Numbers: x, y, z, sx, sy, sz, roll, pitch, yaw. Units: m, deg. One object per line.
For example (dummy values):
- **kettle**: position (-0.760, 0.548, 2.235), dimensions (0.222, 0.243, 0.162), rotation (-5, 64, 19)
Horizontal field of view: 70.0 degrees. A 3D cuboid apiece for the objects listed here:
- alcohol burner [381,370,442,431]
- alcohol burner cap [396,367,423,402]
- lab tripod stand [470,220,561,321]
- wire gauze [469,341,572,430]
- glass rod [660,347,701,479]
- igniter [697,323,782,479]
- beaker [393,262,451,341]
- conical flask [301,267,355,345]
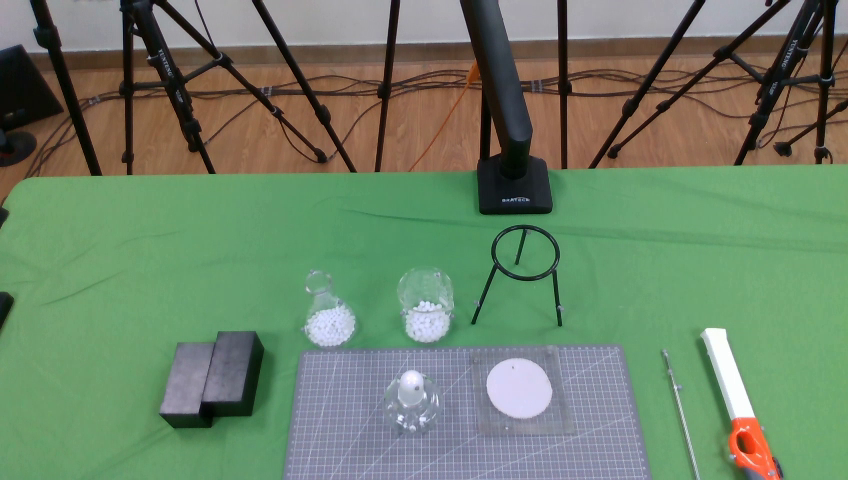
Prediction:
- **alcohol burner**: position (-0.017, 0.190, 0.748), dimensions (0.078, 0.120, 0.077), rotation (0, 55, 1)
- **alcohol burner cap**: position (-0.016, 0.169, 0.720), dimensions (0.034, 0.048, 0.033), rotation (3, 54, -3)
- **lab tripod stand**: position (0.130, 0.049, 0.839), dimensions (0.148, 0.132, 0.147), rotation (-1, 56, 2)
- **wire gauze**: position (0.126, 0.194, 0.808), dimensions (0.125, 0.011, 0.120), rotation (-2, 54, -2)
- **glass rod**: position (0.331, 0.227, 0.778), dimensions (0.008, 0.008, 0.197), rotation (-2, 53, 0)
- **igniter**: position (0.401, 0.229, 0.764), dimensions (0.057, 0.025, 0.273), rotation (4, 54, -8)
- **beaker**: position (0.002, 0.090, 0.835), dimensions (0.083, 0.101, 0.074), rotation (29, 60, 21)
- **conical flask**: position (-0.137, 0.086, 0.827), dimensions (0.075, 0.123, 0.074), rotation (-1, 54, 1)
